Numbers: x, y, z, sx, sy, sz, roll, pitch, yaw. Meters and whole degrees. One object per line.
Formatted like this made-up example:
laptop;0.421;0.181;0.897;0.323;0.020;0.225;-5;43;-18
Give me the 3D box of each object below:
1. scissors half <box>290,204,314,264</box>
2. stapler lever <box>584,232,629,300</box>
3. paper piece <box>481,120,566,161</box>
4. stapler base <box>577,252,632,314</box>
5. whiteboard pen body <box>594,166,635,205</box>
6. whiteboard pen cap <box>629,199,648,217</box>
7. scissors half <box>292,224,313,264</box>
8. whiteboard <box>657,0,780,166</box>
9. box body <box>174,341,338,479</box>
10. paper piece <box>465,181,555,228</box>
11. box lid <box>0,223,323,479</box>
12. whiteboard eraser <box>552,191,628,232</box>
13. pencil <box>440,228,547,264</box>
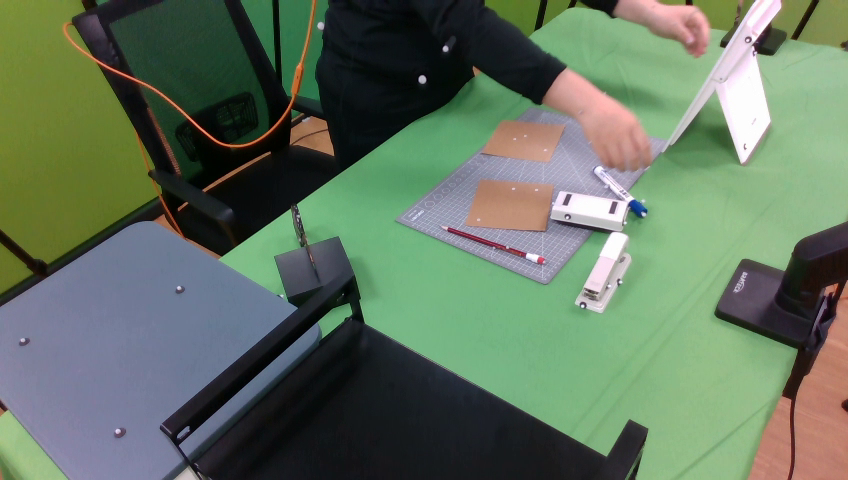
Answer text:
scissors half;-0.191;-0.010;0.945;0.013;0.040;0.173;-13;37;-17
stapler lever;0.261;0.034;0.858;0.026;0.040;0.118;16;46;30
paper piece;0.197;-0.199;1.188;0.135;0.004;0.135;11;43;21
stapler base;0.264;0.051;0.875;0.041;0.024;0.131;16;47;30
whiteboard pen body;0.330;-0.086;1.027;0.017;0.017;0.139;-16;40;-10
whiteboard pen cap;0.348;-0.052;0.983;0.018;0.018;0.033;-18;44;-12
scissors half;-0.189;0.007;0.954;0.013;0.040;0.174;-17;21;-14
whiteboard;0.571;-0.272;1.038;0.143;0.306;0.218;36;54;17
box body;-0.311;0.165;0.720;0.361;0.161;0.255;23;49;32
paper piece;0.149;-0.062;1.034;0.137;0.009;0.136;4;37;16
box lid;-0.318;0.109;0.671;0.368;0.015;0.264;24;49;31
whiteboard eraser;0.266;-0.044;0.967;0.112;0.042;0.055;11;42;20
pencil;0.105;0.007;0.957;0.192;0.012;0.012;18;46;30
